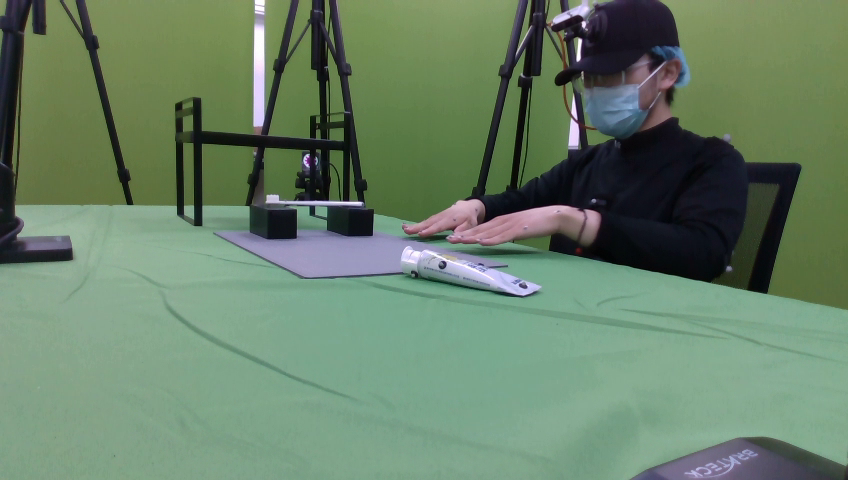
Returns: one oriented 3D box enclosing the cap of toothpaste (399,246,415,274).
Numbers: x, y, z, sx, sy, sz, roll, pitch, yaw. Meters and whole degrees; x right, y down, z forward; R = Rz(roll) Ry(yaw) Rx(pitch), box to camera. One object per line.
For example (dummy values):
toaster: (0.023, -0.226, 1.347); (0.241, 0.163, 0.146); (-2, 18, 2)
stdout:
cap of toothpaste: (-0.018, 0.025, 0.741); (0.011, 0.037, 0.037); (5, 8, 24)

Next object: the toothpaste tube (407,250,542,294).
toothpaste tube: (0.049, 0.039, 0.699); (0.164, 0.034, 0.055); (11, 17, 30)

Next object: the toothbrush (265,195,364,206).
toothbrush: (-0.194, -0.069, 1.090); (0.183, 0.016, 0.014); (0, -8, -27)
